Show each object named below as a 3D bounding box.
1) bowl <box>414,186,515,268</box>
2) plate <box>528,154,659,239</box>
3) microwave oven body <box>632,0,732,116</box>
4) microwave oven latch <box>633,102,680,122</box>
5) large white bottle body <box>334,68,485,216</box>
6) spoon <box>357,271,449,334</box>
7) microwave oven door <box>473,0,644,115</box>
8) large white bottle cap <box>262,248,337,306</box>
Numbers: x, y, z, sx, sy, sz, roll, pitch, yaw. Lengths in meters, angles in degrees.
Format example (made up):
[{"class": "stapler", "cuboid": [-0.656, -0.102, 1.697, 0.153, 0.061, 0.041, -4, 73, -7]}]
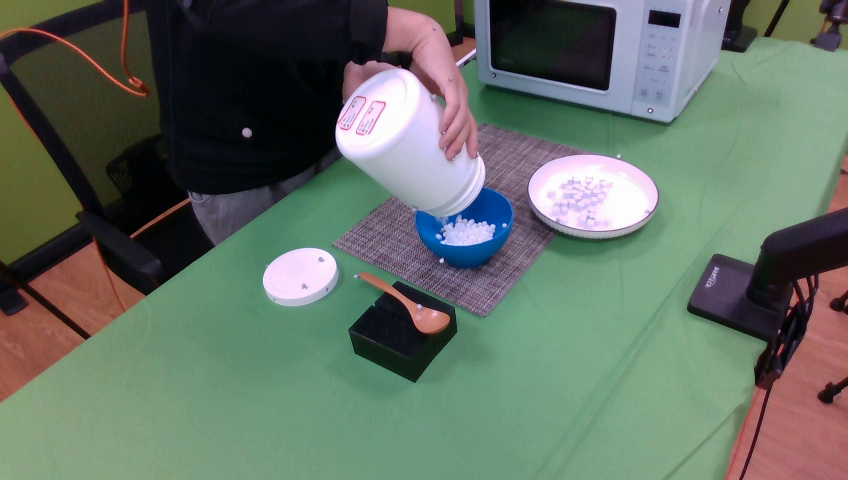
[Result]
[{"class": "bowl", "cuboid": [0.063, -0.011, 0.922, 0.151, 0.077, 0.150, -4, 40, 4]}, {"class": "plate", "cuboid": [0.274, -0.069, 0.993, 0.209, 0.038, 0.208, -2, 42, 2]}, {"class": "microwave oven body", "cuboid": [0.377, -0.463, 1.267, 0.438, 0.261, 0.327, 21, 48, 30]}, {"class": "microwave oven latch", "cuboid": [0.443, -0.249, 1.157, 0.078, 0.029, 0.030, 21, 49, 30]}, {"class": "large white bottle body", "cuboid": [-0.011, -0.119, 0.794, 0.130, 0.186, 0.130, -20, 53, 30]}, {"class": "spoon", "cuboid": [-0.034, 0.078, 0.812, 0.042, 0.022, 0.192, -34, 42, -24]}, {"class": "microwave oven door", "cuboid": [0.257, -0.396, 1.199, 0.353, 0.245, 0.039, 21, 48, 29]}, {"class": "large white bottle cap", "cuboid": [-0.193, 0.056, 0.934, 0.115, 0.018, 0.114, -5, 41, 4]}]
